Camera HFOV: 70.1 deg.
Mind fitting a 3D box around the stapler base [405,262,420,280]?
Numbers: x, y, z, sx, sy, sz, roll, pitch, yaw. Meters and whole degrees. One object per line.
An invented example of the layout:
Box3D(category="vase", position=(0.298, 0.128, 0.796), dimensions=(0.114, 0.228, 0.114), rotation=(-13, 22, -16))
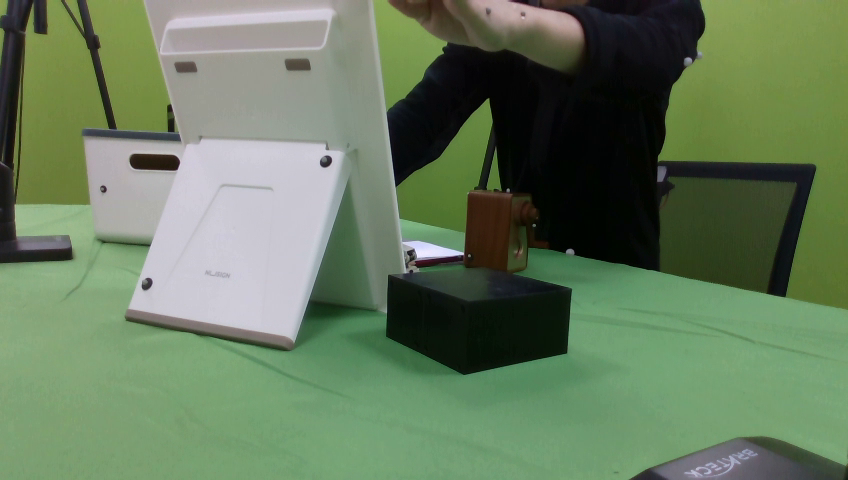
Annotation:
Box3D(category="stapler base", position=(-0.069, 0.027, 0.759), dimensions=(0.130, 0.024, 0.041), rotation=(10, 14, 23))

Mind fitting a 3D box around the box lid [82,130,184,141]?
Box3D(category="box lid", position=(-0.337, -0.161, 1.011), dimensions=(0.263, 0.015, 0.372), rotation=(4, 7, 11))

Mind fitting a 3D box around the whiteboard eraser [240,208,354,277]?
Box3D(category="whiteboard eraser", position=(-0.128, 0.005, 0.595), dimensions=(0.112, 0.056, 0.042), rotation=(-9, 28, 30))

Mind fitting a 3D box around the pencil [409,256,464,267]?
Box3D(category="pencil", position=(0.041, 0.028, 0.849), dimensions=(0.195, 0.012, 0.012), rotation=(-5, 11, -45))

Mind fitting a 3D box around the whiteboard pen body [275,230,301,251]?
Box3D(category="whiteboard pen body", position=(-0.203, 0.002, 0.894), dimensions=(0.017, 0.017, 0.140), rotation=(2, 9, -1))

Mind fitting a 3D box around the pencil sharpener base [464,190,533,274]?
Box3D(category="pencil sharpener base", position=(0.103, -0.012, 0.812), dimensions=(0.076, 0.107, 0.061), rotation=(8, 9, 36))

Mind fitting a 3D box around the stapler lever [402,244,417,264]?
Box3D(category="stapler lever", position=(-0.066, 0.003, 0.754), dimensions=(0.117, 0.040, 0.027), rotation=(9, 14, 23))

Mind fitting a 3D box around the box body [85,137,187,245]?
Box3D(category="box body", position=(-0.340, -0.088, 1.022), dimensions=(0.254, 0.160, 0.364), rotation=(4, 7, 11))

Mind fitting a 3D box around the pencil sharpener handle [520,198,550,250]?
Box3D(category="pencil sharpener handle", position=(0.147, -0.019, 0.784), dimensions=(0.030, 0.068, 0.036), rotation=(8, 24, 36))

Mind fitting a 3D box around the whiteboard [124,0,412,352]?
Box3D(category="whiteboard", position=(-0.151, -0.049, 0.471), dimensions=(0.216, 0.305, 0.144), rotation=(6, 27, 24))

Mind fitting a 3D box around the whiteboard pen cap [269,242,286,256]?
Box3D(category="whiteboard pen cap", position=(-0.202, 0.012, 0.836), dimensions=(0.018, 0.018, 0.033), rotation=(2, 8, -1))
